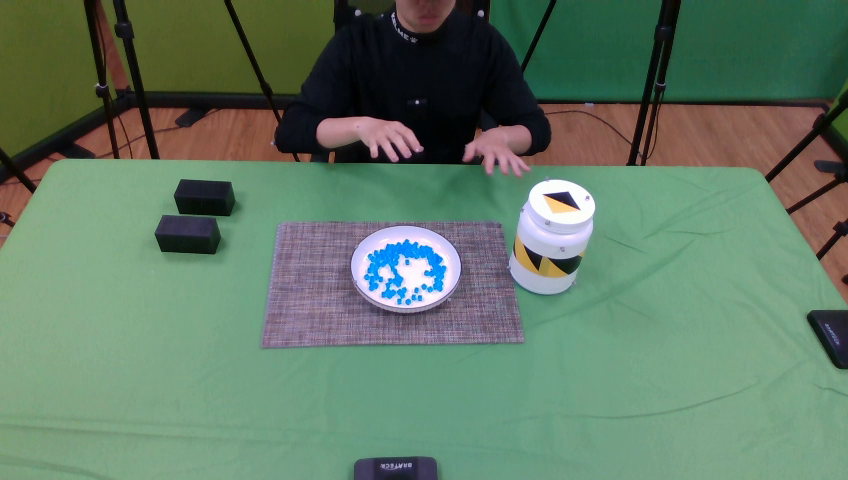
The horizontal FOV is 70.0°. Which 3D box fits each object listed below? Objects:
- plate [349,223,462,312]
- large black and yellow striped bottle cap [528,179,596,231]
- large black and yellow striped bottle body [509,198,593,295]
[{"bbox_3d":[-0.035,0.054,1.126,0.208,0.039,0.206,2,46,-2],"label":"plate"},{"bbox_3d":[0.237,-0.062,1.043,0.115,0.019,0.114,1,47,-1],"label":"large black and yellow striped bottle cap"},{"bbox_3d":[0.232,-0.004,1.104,0.131,0.185,0.130,2,46,-2],"label":"large black and yellow striped bottle body"}]
